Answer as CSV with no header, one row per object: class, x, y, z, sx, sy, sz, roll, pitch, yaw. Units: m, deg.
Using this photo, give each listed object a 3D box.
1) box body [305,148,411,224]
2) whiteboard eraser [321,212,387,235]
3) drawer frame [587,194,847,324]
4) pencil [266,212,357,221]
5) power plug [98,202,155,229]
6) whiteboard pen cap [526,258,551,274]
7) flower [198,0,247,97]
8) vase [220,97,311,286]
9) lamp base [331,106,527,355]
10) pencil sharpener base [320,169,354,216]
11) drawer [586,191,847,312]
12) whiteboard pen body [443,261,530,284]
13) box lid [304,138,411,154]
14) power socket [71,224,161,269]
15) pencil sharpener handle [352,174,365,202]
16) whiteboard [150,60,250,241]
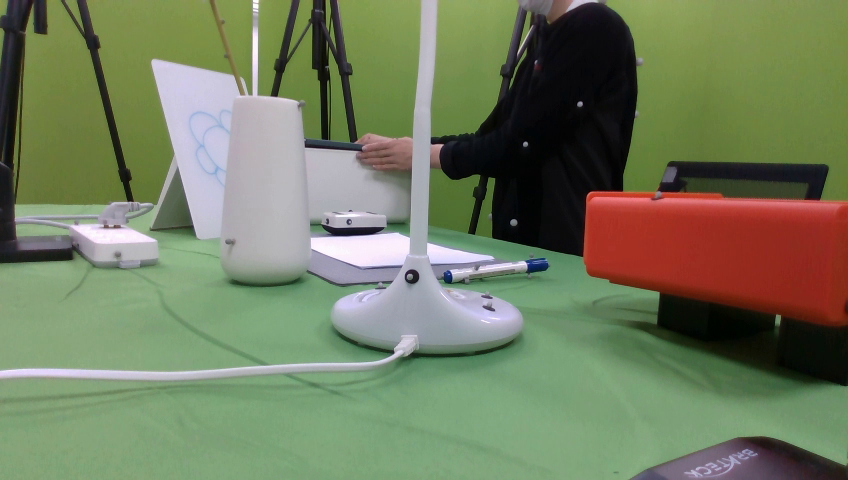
box body,-0.230,-0.126,1.371,0.366,0.160,0.253,-2,8,-33
whiteboard eraser,-0.128,-0.031,1.108,0.113,0.042,0.055,-3,7,-38
drawer frame,0.285,0.004,0.508,0.203,0.082,0.212,-1,6,-29
pencil,-0.244,-0.049,1.319,0.195,0.012,0.012,3,7,-12
power plug,-0.416,-0.027,0.848,0.073,0.052,0.035,0,8,-28
whiteboard pen cap,0.141,0.033,0.759,0.033,0.018,0.018,-7,11,-26
flower,-0.187,-0.133,0.648,0.038,0.362,0.044,0,22,43
vase,-0.172,-0.052,0.662,0.098,0.200,0.098,3,8,0
lamp base,0.006,-0.012,0.478,0.161,0.180,0.179,2,10,2
pencil sharpener base,-0.207,-0.113,1.439,0.077,0.107,0.061,1,6,-11
drawer,0.281,0.001,0.512,0.195,0.073,0.210,-1,8,-29
whiteboard pen body,0.087,0.037,0.734,0.141,0.017,0.017,-6,10,-27
box lid,-0.228,-0.209,1.360,0.373,0.015,0.262,1,5,-32
power socket,-0.408,0.004,0.793,0.072,0.032,0.225,-2,8,-38
pencil sharpener handle,-0.156,-0.125,1.450,0.031,0.068,0.036,1,20,-10
whiteboard,-0.408,-0.139,1.093,0.143,0.305,0.218,-15,-1,26
